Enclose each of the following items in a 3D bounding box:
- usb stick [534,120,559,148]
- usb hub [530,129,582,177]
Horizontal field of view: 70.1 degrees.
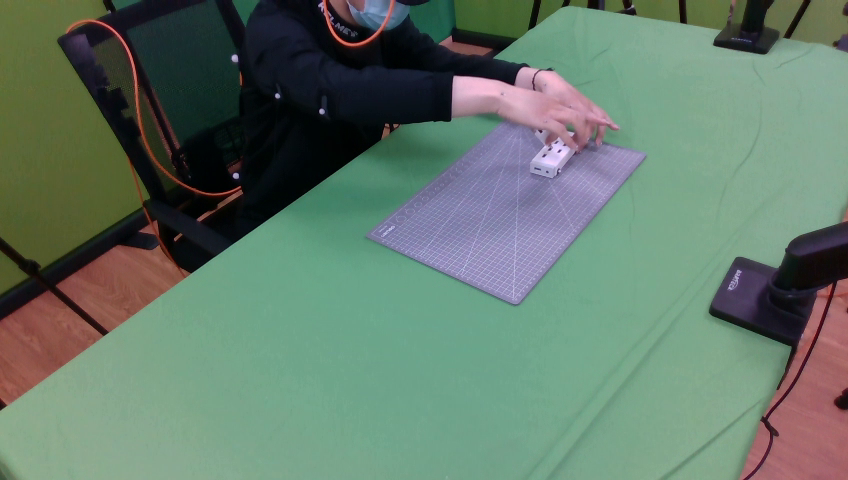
[{"bbox_3d":[0.222,-0.187,1.083,0.027,0.060,0.021,-36,53,14],"label":"usb stick"},{"bbox_3d":[0.245,-0.161,1.115,0.049,0.025,0.125,20,48,28],"label":"usb hub"}]
